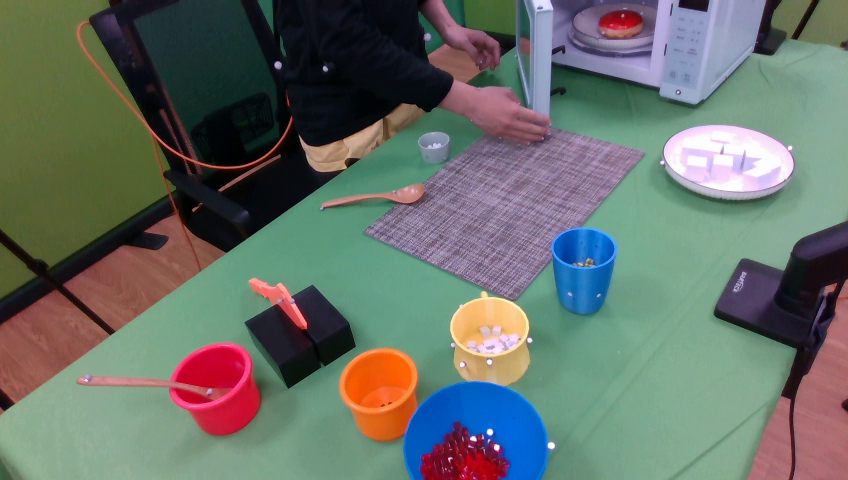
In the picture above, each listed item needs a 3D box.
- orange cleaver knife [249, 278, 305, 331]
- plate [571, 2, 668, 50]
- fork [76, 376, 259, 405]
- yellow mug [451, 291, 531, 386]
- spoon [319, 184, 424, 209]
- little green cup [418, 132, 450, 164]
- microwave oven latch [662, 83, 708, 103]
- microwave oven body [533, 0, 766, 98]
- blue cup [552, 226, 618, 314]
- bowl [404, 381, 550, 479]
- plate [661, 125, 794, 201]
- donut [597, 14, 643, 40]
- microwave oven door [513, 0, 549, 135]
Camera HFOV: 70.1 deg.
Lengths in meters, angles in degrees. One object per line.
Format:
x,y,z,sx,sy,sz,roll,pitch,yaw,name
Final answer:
-0.210,0.088,0.856,0.012,0.077,0.210,-28,15,-25,orange cleaver knife
0.435,-0.476,1.356,0.209,0.038,0.208,-5,41,5,plate
-0.295,0.176,0.716,0.209,0.018,0.028,19,27,-36,fork
0.085,0.120,0.786,0.100,0.064,0.130,-7,39,1,yellow mug
-0.094,-0.076,1.074,0.193,0.022,0.041,-5,56,6,spoon
0.020,-0.177,1.168,0.061,0.039,0.061,-2,41,2,little green cup
0.518,-0.297,1.204,0.078,0.029,0.030,29,53,36,microwave oven latch
0.472,-0.513,1.317,0.438,0.261,0.327,26,51,34,microwave oven body
0.218,0.047,0.825,0.092,0.100,0.092,-6,40,5,blue cup
0.058,0.235,0.645,0.151,0.077,0.150,-4,39,4,bowl
0.513,-0.128,1.035,0.207,0.039,0.206,-4,40,4,plate
0.436,-0.476,1.345,0.099,0.048,0.098,-6,29,4,donut
0.214,-0.408,1.224,0.039,0.245,0.354,-4,40,4,microwave oven door
